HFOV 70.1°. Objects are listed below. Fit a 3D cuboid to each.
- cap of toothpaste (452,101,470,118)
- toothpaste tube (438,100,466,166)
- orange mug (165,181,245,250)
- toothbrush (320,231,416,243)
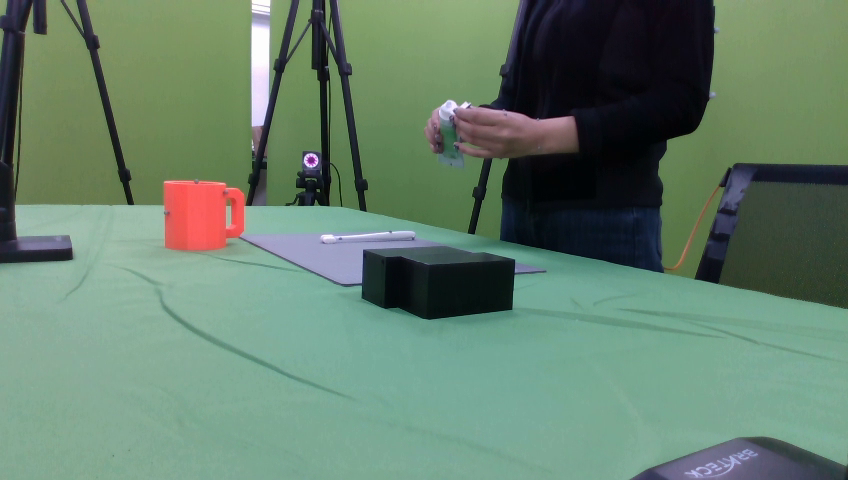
[{"bbox_3d":[0.058,-0.213,0.979,0.037,0.011,0.037,-38,2,2],"label":"cap of toothpaste"},{"bbox_3d":[0.049,-0.186,1.064,0.055,0.034,0.165,22,-25,15],"label":"toothpaste tube"},{"bbox_3d":[-0.326,-0.040,0.911,0.083,0.101,0.127,8,14,37],"label":"orange mug"},{"bbox_3d":[-0.089,-0.006,1.025,0.183,0.014,0.016,-3,13,-34],"label":"toothbrush"}]
